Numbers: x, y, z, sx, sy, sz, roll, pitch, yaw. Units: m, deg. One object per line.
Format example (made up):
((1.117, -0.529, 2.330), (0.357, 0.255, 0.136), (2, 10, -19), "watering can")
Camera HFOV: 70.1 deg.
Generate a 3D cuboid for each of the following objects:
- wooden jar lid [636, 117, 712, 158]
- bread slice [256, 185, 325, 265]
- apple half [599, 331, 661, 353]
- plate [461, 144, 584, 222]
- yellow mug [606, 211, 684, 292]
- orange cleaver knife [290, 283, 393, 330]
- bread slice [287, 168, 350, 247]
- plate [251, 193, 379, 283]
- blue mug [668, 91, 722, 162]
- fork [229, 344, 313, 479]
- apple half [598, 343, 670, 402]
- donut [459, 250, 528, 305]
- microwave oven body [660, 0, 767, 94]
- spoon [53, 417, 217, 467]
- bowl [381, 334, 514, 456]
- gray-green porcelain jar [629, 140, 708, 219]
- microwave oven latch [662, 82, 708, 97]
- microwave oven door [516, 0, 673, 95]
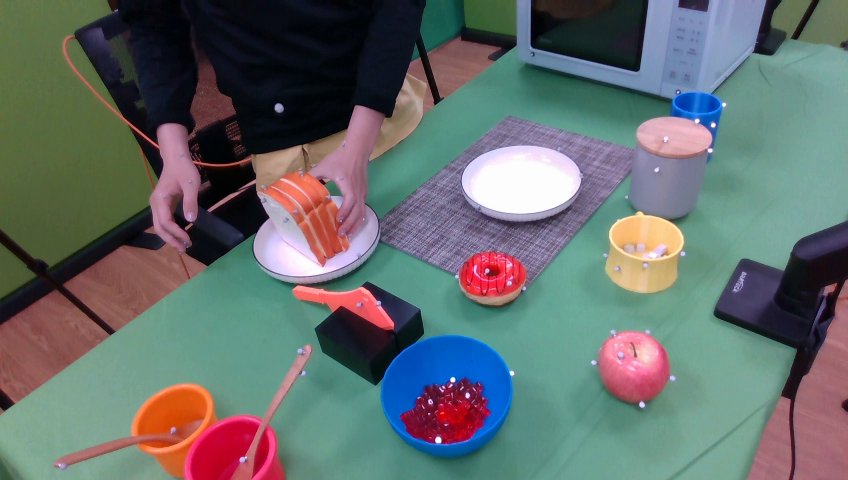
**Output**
((0.377, -0.151, 0.917), (0.108, 0.021, 0.108), (-2, 42, 3), "wooden jar lid")
((-0.210, -0.028, 0.936), (0.106, 0.135, 0.018), (27, 61, 35), "bread slice")
((0.249, 0.134, 0.738), (0.081, 0.081, 0.032), (-1, 46, 7), "apple half")
((0.168, -0.095, 1.040), (0.207, 0.039, 0.206), (-4, 40, 4), "plate")
((0.318, 0.008, 0.883), (0.100, 0.064, 0.130), (0, 40, 9), "yellow mug")
((-0.118, 0.091, 0.835), (0.209, 0.077, 0.012), (1, 35, 48), "orange cleaver knife")
((-0.168, -0.055, 0.961), (0.104, 0.132, 0.019), (31, 62, 36), "bread slice")
((-0.174, 0.000, 0.984), (0.209, 0.038, 0.208), (-4, 41, 4), "plate")
((0.474, -0.207, 1.079), (0.082, 0.106, 0.116), (4, 42, 13), "blue mug")
((-0.173, 0.205, 0.662), (0.028, 0.019, 0.207), (29, 94, 36), "fork")
((0.247, 0.161, 0.710), (0.081, 0.075, 0.053), (2, 47, 5), "apple half")
((0.100, 0.053, 0.872), (0.099, 0.048, 0.098), (-5, 41, 4), "donut")
((0.473, -0.517, 1.314), (0.438, 0.261, 0.327), (26, 51, 34), "microwave oven body")
((-0.308, 0.219, 0.663), (0.041, 0.195, 0.021), (24, 94, 29), "spoon")
((0.029, 0.192, 0.701), (0.151, 0.077, 0.150), (-4, 40, 4), "bowl")
((0.383, -0.105, 0.958), (0.106, 0.127, 0.105), (-4, 41, 4), "gray-green porcelain jar")
((0.518, -0.298, 1.203), (0.078, 0.029, 0.030), (28, 53, 35), "microwave oven latch")
((0.344, -0.458, 1.256), (0.353, 0.245, 0.039), (26, 51, 33), "microwave oven door")
